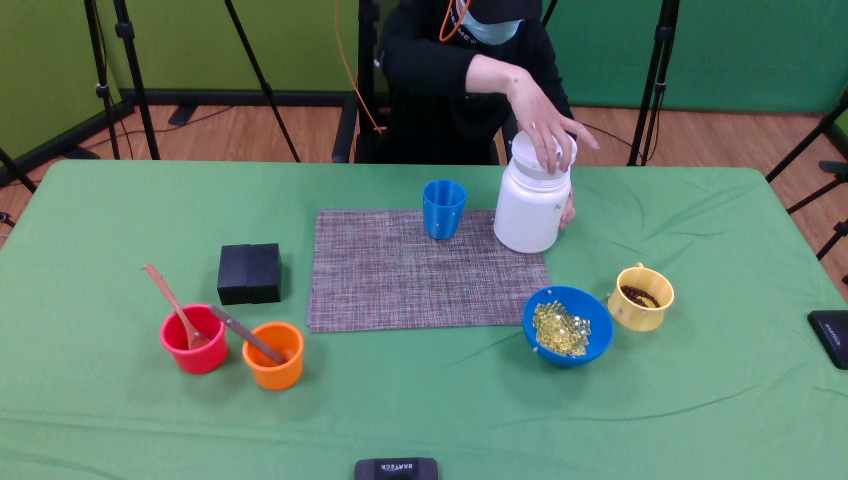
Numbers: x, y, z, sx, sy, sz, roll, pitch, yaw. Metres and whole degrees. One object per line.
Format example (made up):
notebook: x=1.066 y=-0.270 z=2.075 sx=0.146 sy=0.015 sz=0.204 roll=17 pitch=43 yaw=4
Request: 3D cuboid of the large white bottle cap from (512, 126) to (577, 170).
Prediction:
large white bottle cap: x=0.214 y=-0.166 z=1.081 sx=0.115 sy=0.018 sz=0.114 roll=0 pitch=44 yaw=0

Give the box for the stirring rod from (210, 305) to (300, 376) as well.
stirring rod: x=-0.262 y=0.158 z=0.946 sx=0.177 sy=0.006 sz=0.014 roll=44 pitch=43 yaw=-21

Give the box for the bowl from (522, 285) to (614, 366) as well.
bowl: x=0.235 y=0.158 z=1.022 sx=0.151 sy=0.077 sz=0.150 roll=2 pitch=46 yaw=-2

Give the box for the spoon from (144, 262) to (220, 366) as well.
spoon: x=-0.389 y=0.118 z=0.970 sx=0.041 sy=0.021 sz=0.194 roll=-34 pitch=101 yaw=-34

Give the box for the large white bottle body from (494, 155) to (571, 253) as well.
large white bottle body: x=0.210 y=-0.079 z=1.170 sx=0.131 sy=0.185 sz=0.130 roll=1 pitch=46 yaw=-1

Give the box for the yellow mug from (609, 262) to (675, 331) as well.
yellow mug: x=0.393 y=0.094 z=1.103 sx=0.100 sy=0.064 sz=0.130 roll=7 pitch=45 yaw=4

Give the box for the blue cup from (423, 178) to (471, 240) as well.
blue cup: x=0.036 y=-0.056 z=1.192 sx=0.093 sy=0.101 sz=0.092 roll=3 pitch=45 yaw=-3
